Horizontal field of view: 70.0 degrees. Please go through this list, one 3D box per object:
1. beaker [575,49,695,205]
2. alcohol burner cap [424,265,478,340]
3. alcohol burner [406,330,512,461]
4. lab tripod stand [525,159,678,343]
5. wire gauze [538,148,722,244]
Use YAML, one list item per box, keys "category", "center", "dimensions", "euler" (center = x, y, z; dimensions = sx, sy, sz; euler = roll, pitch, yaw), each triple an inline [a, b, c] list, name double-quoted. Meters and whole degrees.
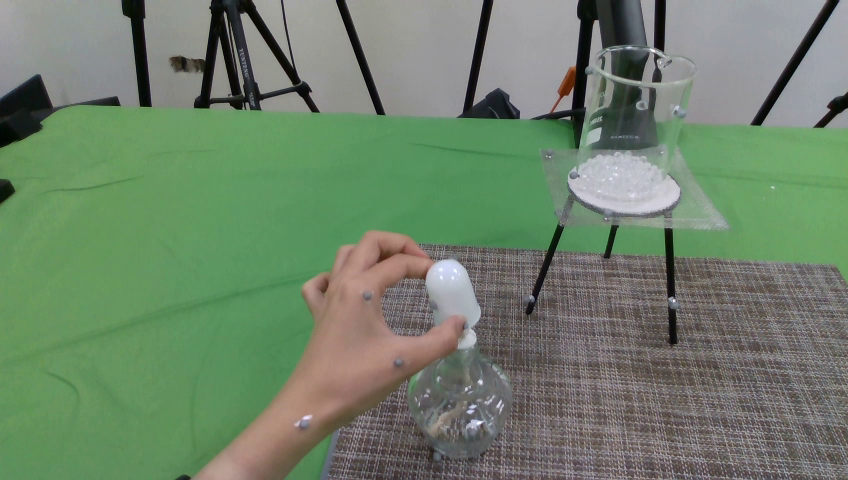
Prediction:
- category: "beaker"
  center: [0.158, -0.086, 0.466]
  dimensions: [0.073, 0.101, 0.084]
  euler: [28, 45, 31]
- category: "alcohol burner cap"
  center: [0.015, 0.038, 0.391]
  dimensions: [0.034, 0.048, 0.033]
  euler: [-8, 38, 7]
- category: "alcohol burner"
  center: [0.025, 0.102, 0.431]
  dimensions: [0.078, 0.120, 0.077]
  euler: [0, 38, 1]
- category: "lab tripod stand"
  center: [0.167, 0.008, 0.532]
  dimensions: [0.148, 0.132, 0.147]
  euler: [0, 37, 0]
- category: "wire gauze"
  center: [0.160, -0.041, 0.489]
  dimensions: [0.125, 0.011, 0.120]
  euler: [3, 39, 0]
